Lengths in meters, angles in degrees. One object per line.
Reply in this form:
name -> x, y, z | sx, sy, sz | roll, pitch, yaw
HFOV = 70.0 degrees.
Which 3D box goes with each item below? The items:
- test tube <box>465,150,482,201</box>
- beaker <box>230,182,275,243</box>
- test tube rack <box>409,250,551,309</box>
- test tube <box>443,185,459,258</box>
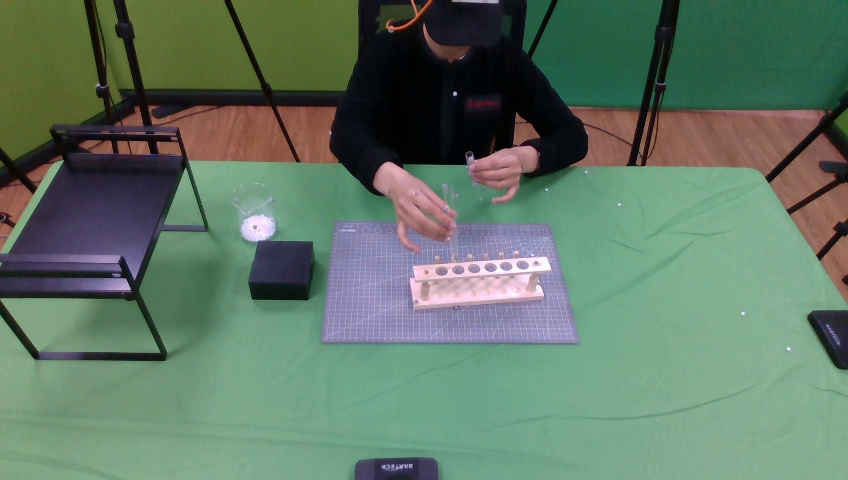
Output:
test tube -> 0.100, -0.125, 1.209 | 0.017, 0.151, 0.017 | -7, 56, 10
beaker -> -0.328, -0.049, 1.166 | 0.074, 0.101, 0.083 | 2, 47, -2
test tube rack -> 0.098, 0.065, 1.096 | 0.243, 0.085, 0.066 | -4, 47, -8
test tube -> 0.045, -0.027, 0.992 | 0.017, 0.151, 0.017 | -5, 42, 4
